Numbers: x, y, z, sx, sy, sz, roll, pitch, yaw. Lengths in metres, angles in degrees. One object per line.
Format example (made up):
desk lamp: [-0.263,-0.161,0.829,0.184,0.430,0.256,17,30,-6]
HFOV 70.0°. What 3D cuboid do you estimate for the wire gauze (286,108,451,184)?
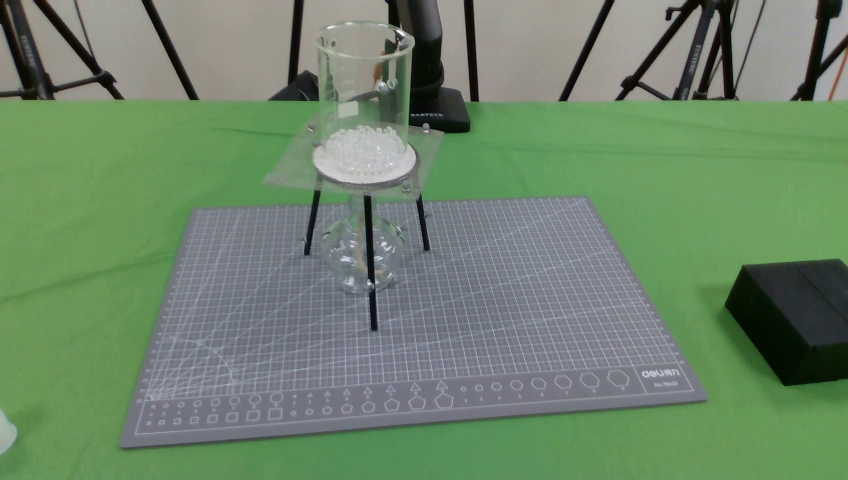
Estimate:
wire gauze: [-0.046,-0.080,0.488,0.125,0.011,0.120,1,35,-12]

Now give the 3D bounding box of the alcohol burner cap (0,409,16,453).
alcohol burner cap: [-0.308,0.125,0.417,0.034,0.048,0.033,3,38,-2]

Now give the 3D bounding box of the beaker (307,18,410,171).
beaker: [-0.047,-0.113,0.475,0.084,0.101,0.073,-29,50,-34]

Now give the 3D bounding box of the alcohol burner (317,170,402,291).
alcohol burner: [-0.058,-0.012,0.549,0.078,0.120,0.077,3,37,-2]

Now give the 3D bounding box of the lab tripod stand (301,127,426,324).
lab tripod stand: [-0.051,-0.020,0.543,0.148,0.132,0.147,4,39,-3]
